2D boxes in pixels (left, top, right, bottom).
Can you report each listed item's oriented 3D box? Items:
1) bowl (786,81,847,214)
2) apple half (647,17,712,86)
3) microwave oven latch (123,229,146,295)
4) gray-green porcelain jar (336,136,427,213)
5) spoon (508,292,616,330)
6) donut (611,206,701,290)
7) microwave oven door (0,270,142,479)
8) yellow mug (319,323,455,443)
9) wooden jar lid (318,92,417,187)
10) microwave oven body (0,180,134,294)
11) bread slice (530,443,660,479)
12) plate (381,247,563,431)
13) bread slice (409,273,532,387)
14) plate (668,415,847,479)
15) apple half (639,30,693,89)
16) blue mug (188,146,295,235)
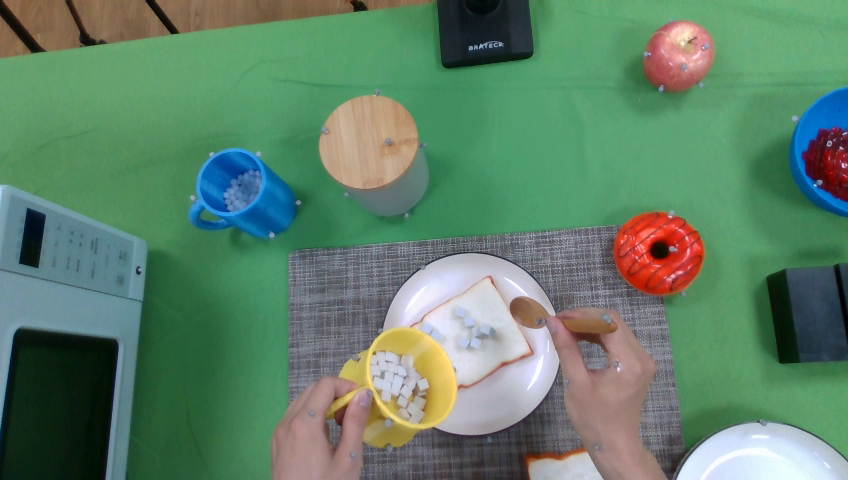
[{"bbox_3d":[0.473,-0.092,0.676,0.151,0.077,0.150,-1,78,7],"label":"bowl"},{"bbox_3d":[0.311,-0.230,0.727,0.053,0.075,0.080,-35,72,-7],"label":"apple half"},{"bbox_3d":[-0.368,0.028,0.754,0.030,0.029,0.079,1,79,7],"label":"microwave oven latch"},{"bbox_3d":[-0.053,-0.093,0.715,0.106,0.127,0.105,-1,78,7],"label":"gray-green porcelain jar"},{"bbox_3d":[0.122,0.070,0.561,0.021,0.193,0.042,-34,96,-10],"label":"spoon"},{"bbox_3d":[0.264,0.009,0.694,0.099,0.048,0.098,-1,79,7],"label":"donut"},{"bbox_3d":[-0.383,0.220,0.611,0.039,0.245,0.354,-2,78,7],"label":"microwave oven door"},{"bbox_3d":[-0.040,0.141,0.575,0.131,0.064,0.099,-10,68,-41],"label":"yellow mug"},{"bbox_3d":[-0.061,-0.107,0.655,0.108,0.021,0.108,-2,76,7],"label":"wooden jar lid"},{"bbox_3d":[-0.527,0.183,0.641,0.326,0.261,0.439,-1,79,6],"label":"microwave oven body"},{"bbox_3d":[0.186,0.271,0.629,0.135,0.018,0.106,-8,73,-15],"label":"bread slice"},{"bbox_3d":[0.054,0.112,0.701,0.207,0.039,0.206,-1,78,7],"label":"plate"},{"bbox_3d":[0.045,0.114,0.703,0.131,0.019,0.104,-30,76,-1],"label":"bread slice"},{"bbox_3d":[0.355,0.289,0.632,0.209,0.038,0.208,-1,78,7],"label":"plate"},{"bbox_3d":[0.280,-0.206,0.724,0.033,0.082,0.081,-36,76,-6],"label":"apple half"},{"bbox_3d":[-0.228,-0.049,0.738,0.116,0.106,0.082,-30,76,0],"label":"blue mug"}]
